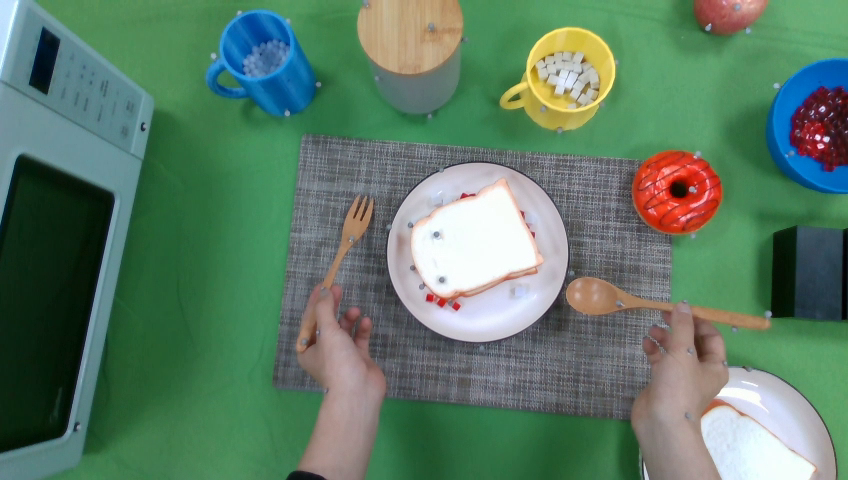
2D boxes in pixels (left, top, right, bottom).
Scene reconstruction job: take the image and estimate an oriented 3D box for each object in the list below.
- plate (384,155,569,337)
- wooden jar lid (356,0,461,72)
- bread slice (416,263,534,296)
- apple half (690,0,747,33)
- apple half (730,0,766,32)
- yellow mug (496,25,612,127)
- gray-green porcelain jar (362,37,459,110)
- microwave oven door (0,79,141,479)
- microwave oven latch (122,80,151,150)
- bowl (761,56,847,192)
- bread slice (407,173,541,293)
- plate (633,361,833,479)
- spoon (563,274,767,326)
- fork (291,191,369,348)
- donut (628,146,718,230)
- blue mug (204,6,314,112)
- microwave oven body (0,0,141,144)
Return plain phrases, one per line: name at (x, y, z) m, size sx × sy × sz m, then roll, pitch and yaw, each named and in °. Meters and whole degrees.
plate at (0.060, 0.007, 0.696) m, size 0.207 × 0.039 × 0.207 m, roll 0°, pitch 83°, yaw 2°
wooden jar lid at (-0.016, -0.222, 0.625) m, size 0.108 × 0.021 × 0.108 m, roll 0°, pitch 81°, yaw 2°
bread slice at (0.050, 0.008, 0.699) m, size 0.131 × 0.019 × 0.104 m, roll -22°, pitch 83°, yaw -2°
apple half at (0.333, -0.272, 0.707) m, size 0.033 × 0.081 × 0.081 m, roll -28°, pitch 82°, yaw -6°
apple half at (0.367, -0.290, 0.710) m, size 0.053 × 0.075 × 0.080 m, roll -27°, pitch 78°, yaw -7°
yellow mug at (0.147, -0.185, 0.708) m, size 0.131 × 0.064 × 0.099 m, roll -19°, pitch 82°, yaw 0°
gray-green porcelain jar at (-0.013, -0.213, 0.686) m, size 0.106 × 0.127 × 0.105 m, roll 0°, pitch 82°, yaw 2°
microwave oven door at (-0.385, 0.052, 0.588) m, size 0.039 × 0.244 × 0.355 m, roll 8°, pitch 83°, yaw 4°
microwave oven latch at (-0.345, -0.148, 0.714) m, size 0.030 × 0.029 × 0.079 m, roll 11°, pitch 84°, yaw 3°
bowl at (0.446, -0.121, 0.684) m, size 0.151 × 0.077 × 0.151 m, roll 0°, pitch 83°, yaw 2°
bread slice at (0.050, 0.001, 0.672) m, size 0.134 × 0.018 × 0.106 m, roll -26°, pitch 80°, yaw -3°
plate at (0.331, 0.236, 0.662) m, size 0.209 × 0.038 × 0.208 m, roll 0°, pitch 82°, yaw 2°
spoon at (0.233, 0.064, 0.606) m, size 0.192 × 0.022 × 0.041 m, roll 7°, pitch 71°, yaw 36°
fork at (-0.103, 0.027, 0.673) m, size 0.028 × 0.019 × 0.206 m, roll 20°, pitch 55°, yaw -1°
donut at (0.284, -0.059, 0.694) m, size 0.099 × 0.048 × 0.099 m, roll 0°, pitch 83°, yaw 2°
blue mug at (-0.194, -0.200, 0.701) m, size 0.116 × 0.106 × 0.082 m, roll -20°, pitch 82°, yaw 0°
microwave oven body at (-0.523, -0.010, 0.605) m, size 0.326 × 0.261 × 0.440 m, roll 8°, pitch 83°, yaw 3°
